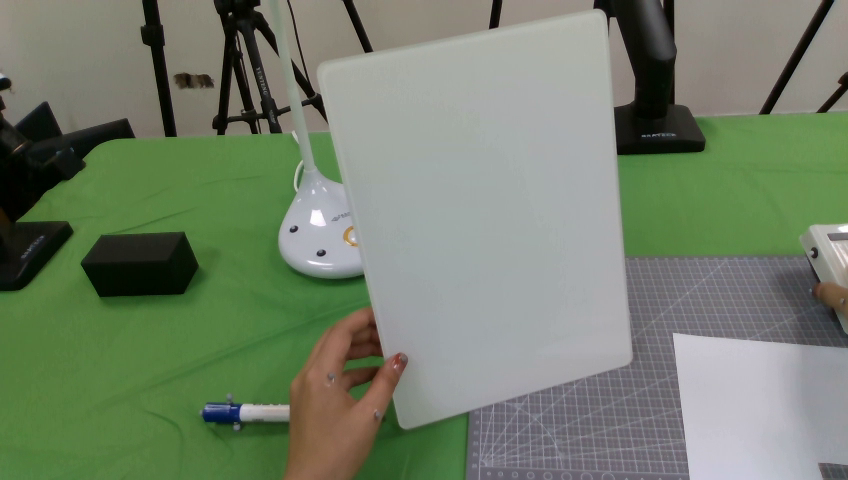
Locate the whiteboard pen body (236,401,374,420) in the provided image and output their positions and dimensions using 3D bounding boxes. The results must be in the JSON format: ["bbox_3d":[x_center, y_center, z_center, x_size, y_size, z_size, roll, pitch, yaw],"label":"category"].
[{"bbox_3d":[-0.114,0.148,0.525,0.141,0.017,0.017,-1,38,2],"label":"whiteboard pen body"}]

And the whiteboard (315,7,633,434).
[{"bbox_3d":[0.043,-0.024,0.538,0.217,0.307,0.142,-14,20,-8],"label":"whiteboard"}]

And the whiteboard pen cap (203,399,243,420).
[{"bbox_3d":[-0.173,0.148,0.529,0.033,0.018,0.018,1,38,0],"label":"whiteboard pen cap"}]

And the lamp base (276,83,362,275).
[{"bbox_3d":[-0.111,-0.078,0.684,0.160,0.182,0.177,-33,43,-29],"label":"lamp base"}]

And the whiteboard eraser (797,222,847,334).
[{"bbox_3d":[0.398,0.035,0.566,0.055,0.042,0.111,-1,53,-2],"label":"whiteboard eraser"}]
